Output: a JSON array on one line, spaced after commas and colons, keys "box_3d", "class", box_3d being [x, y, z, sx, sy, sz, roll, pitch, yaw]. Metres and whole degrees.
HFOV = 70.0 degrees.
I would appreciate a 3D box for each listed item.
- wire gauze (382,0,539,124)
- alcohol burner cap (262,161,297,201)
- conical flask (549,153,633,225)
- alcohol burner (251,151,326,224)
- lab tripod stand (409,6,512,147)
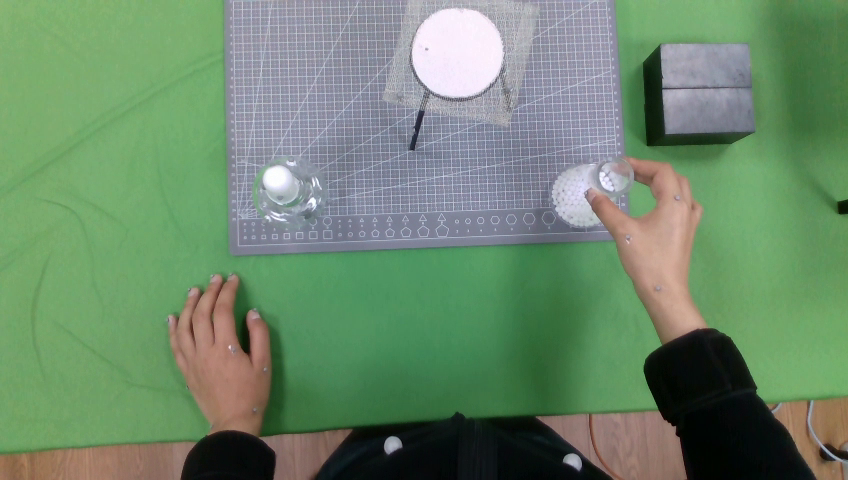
[{"box_3d": [0.035, -0.177, 0.561, 0.121, 0.011, 0.125, 15, 85, -1], "class": "wire gauze"}, {"box_3d": [-0.141, -0.059, 0.585, 0.034, 0.048, 0.033, 1, 80, -6], "class": "alcohol burner cap"}, {"box_3d": [0.178, -0.058, 0.629, 0.075, 0.122, 0.075, 0, 85, -1], "class": "conical flask"}, {"box_3d": [-0.142, -0.056, 0.621, 0.078, 0.119, 0.078, 0, 86, -1], "class": "alcohol burner"}, {"box_3d": [0.027, -0.172, 0.627, 0.148, 0.131, 0.148, 0, 85, 0], "class": "lab tripod stand"}]
